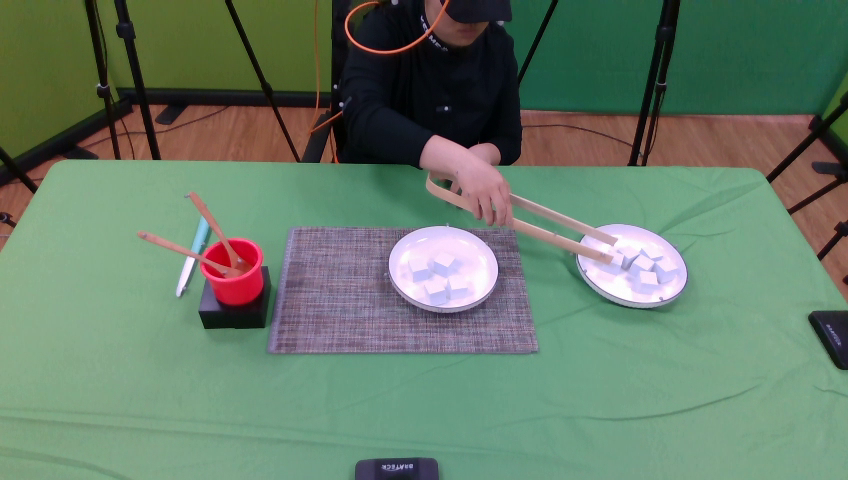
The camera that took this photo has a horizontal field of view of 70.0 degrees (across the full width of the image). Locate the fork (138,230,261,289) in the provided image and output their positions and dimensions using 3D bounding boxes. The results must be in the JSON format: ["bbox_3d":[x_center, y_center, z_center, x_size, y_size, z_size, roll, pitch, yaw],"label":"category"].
[{"bbox_3d":[-0.360,0.032,0.981,0.208,0.018,0.028,31,61,-30],"label":"fork"}]

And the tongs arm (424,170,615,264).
[{"bbox_3d":[0.178,-0.045,1.155,0.384,0.026,0.050,20,49,4],"label":"tongs arm"}]

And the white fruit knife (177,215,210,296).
[{"bbox_3d":[-0.435,0.025,1.148,0.027,0.016,0.206,-18,45,19],"label":"white fruit knife"}]

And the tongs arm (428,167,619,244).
[{"bbox_3d":[0.190,-0.068,1.177,0.387,0.028,0.028,21,53,5],"label":"tongs arm"}]

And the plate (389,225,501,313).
[{"bbox_3d":[0.038,0.057,1.129,0.208,0.039,0.206,2,46,-2],"label":"plate"}]

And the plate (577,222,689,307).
[{"bbox_3d":[0.396,0.050,1.165,0.209,0.038,0.208,2,47,-2],"label":"plate"}]

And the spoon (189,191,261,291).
[{"bbox_3d":[-0.333,0.001,1.012,0.041,0.194,0.021,-34,15,-25],"label":"spoon"}]
